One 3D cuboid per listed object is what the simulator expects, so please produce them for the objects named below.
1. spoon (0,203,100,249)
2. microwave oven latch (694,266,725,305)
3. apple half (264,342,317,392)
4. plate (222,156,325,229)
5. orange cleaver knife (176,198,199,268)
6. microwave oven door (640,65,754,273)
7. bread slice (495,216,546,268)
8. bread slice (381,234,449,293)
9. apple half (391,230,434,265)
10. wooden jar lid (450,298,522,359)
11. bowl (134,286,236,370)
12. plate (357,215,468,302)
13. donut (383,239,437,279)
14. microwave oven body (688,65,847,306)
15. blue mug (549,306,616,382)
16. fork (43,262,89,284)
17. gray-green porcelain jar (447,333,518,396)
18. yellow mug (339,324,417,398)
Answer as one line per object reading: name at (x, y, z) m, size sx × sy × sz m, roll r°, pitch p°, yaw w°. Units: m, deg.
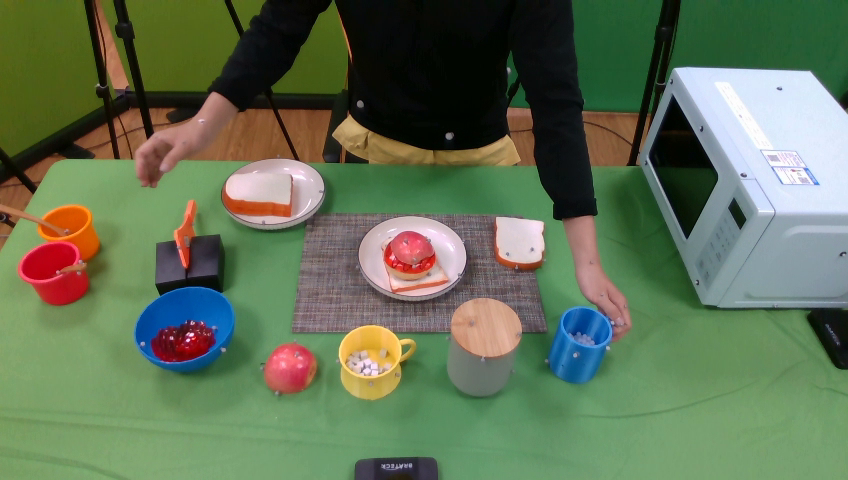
spoon at (-0.683, -0.031, 1.088) m, size 0.195 × 0.021 × 0.041 m, roll 33°, pitch 33°, yaw -38°
microwave oven latch at (0.523, 0.082, 1.115) m, size 0.030 × 0.029 × 0.078 m, roll 3°, pitch 46°, yaw 0°
apple half at (-0.214, 0.198, 0.970) m, size 0.074 × 0.053 × 0.080 m, roll 19°, pitch 48°, yaw 10°
plate at (-0.307, -0.095, 1.251) m, size 0.209 × 0.038 × 0.208 m, roll 2°, pitch 47°, yaw -2°
orange cleaver knife at (-0.437, -0.017, 1.138) m, size 0.012 × 0.077 × 0.210 m, roll -12°, pitch 27°, yaw -7°
microwave oven door at (0.523, -0.148, 1.193) m, size 0.039 × 0.245 × 0.353 m, roll 0°, pitch 47°, yaw -3°
bread slice at (0.194, 0.002, 1.205) m, size 0.105 × 0.019 × 0.131 m, roll 5°, pitch 45°, yaw 2°
bread slice at (-0.026, 0.039, 1.141) m, size 0.107 × 0.018 × 0.133 m, roll -12°, pitch 50°, yaw -15°
apple half at (-0.021, 0.004, 1.085) m, size 0.081 × 0.033 × 0.081 m, roll 7°, pitch 44°, yaw -6°
wooden jar lid at (0.093, 0.135, 0.914) m, size 0.108 × 0.021 × 0.107 m, roll 3°, pitch 48°, yaw -3°
bowl at (-0.377, 0.155, 0.981) m, size 0.151 × 0.077 × 0.150 m, roll 2°, pitch 46°, yaw -2°
plate at (-0.022, 0.037, 1.141) m, size 0.208 × 0.039 × 0.206 m, roll 2°, pitch 46°, yaw -2°
donut at (-0.025, 0.029, 1.109) m, size 0.099 × 0.048 × 0.098 m, roll 2°, pitch 46°, yaw -2°
microwave oven body at (0.669, -0.111, 1.176) m, size 0.326 × 0.261 × 0.439 m, roll 0°, pitch 46°, yaw -3°
blue mug at (0.269, 0.165, 0.998) m, size 0.116 × 0.106 × 0.082 m, roll -21°, pitch 52°, yaw -22°
fork at (-0.599, 0.053, 1.014) m, size 0.207 × 0.019 × 0.028 m, roll -14°, pitch 29°, yaw 45°
gray-green porcelain jar at (0.091, 0.178, 0.960) m, size 0.106 × 0.127 × 0.105 m, roll 2°, pitch 46°, yaw -2°
yellow mug at (-0.072, 0.190, 0.978) m, size 0.131 × 0.064 × 0.099 m, roll -17°, pitch 51°, yaw -20°
